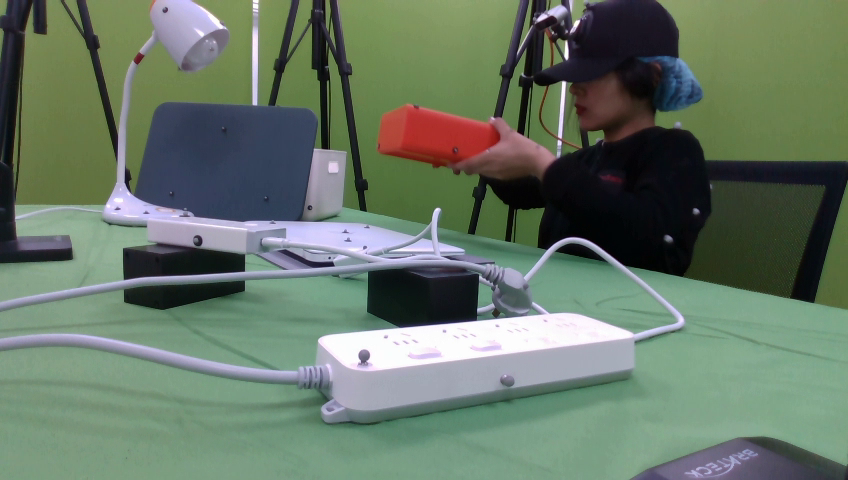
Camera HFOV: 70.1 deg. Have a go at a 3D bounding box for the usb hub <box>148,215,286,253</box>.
[{"bbox_3d":[-0.197,-0.006,0.575,0.125,0.025,0.050,6,6,22],"label":"usb hub"}]

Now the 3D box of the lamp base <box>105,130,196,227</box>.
[{"bbox_3d":[-0.532,-0.120,1.153,0.179,0.180,0.161,1,7,8],"label":"lamp base"}]

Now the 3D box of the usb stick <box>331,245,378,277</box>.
[{"bbox_3d":[-0.085,0.026,0.702,0.059,0.027,0.021,-17,20,27],"label":"usb stick"}]

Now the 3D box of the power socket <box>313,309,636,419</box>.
[{"bbox_3d":[0.039,0.072,0.385,0.228,0.032,0.072,-2,7,-28],"label":"power socket"}]

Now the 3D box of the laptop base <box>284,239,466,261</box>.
[{"bbox_3d":[-0.125,0.002,0.945,0.237,0.023,0.352,2,6,-31],"label":"laptop base"}]

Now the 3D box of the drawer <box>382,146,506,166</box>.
[{"bbox_3d":[0.039,-0.190,1.154,0.212,0.073,0.194,7,4,-17],"label":"drawer"}]

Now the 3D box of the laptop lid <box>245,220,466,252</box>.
[{"bbox_3d":[-0.123,-0.009,0.945,0.243,0.013,0.355,1,7,-29],"label":"laptop lid"}]

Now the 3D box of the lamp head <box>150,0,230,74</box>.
[{"bbox_3d":[-0.433,-0.375,1.086,0.123,0.112,0.112,42,8,-3],"label":"lamp head"}]

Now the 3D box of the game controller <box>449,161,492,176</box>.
[{"bbox_3d":[0.076,-0.172,1.170,0.097,0.051,0.154,36,-5,-20],"label":"game controller"}]

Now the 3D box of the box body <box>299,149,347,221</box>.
[{"bbox_3d":[-0.384,-0.137,1.407,0.364,0.160,0.254,3,8,8],"label":"box body"}]

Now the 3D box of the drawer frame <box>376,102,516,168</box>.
[{"bbox_3d":[0.037,-0.194,1.151,0.214,0.082,0.201,8,4,-18],"label":"drawer frame"}]

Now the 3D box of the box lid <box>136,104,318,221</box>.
[{"bbox_3d":[-0.411,-0.162,1.266,0.371,0.263,0.015,3,-15,9],"label":"box lid"}]

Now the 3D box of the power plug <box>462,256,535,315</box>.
[{"bbox_3d":[0.064,0.039,0.530,0.072,0.052,0.035,31,43,7],"label":"power plug"}]
